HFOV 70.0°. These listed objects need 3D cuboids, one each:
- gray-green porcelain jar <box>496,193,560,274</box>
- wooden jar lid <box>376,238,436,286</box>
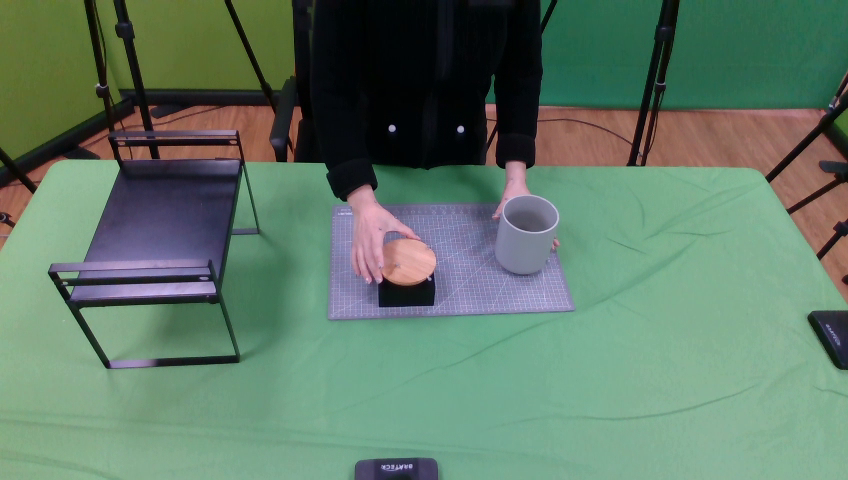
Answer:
[{"bbox_3d":[0.191,-0.007,1.140,0.106,0.127,0.105,2,47,-2],"label":"gray-green porcelain jar"},{"bbox_3d":[-0.033,0.040,1.083,0.108,0.021,0.107,3,46,-3],"label":"wooden jar lid"}]
